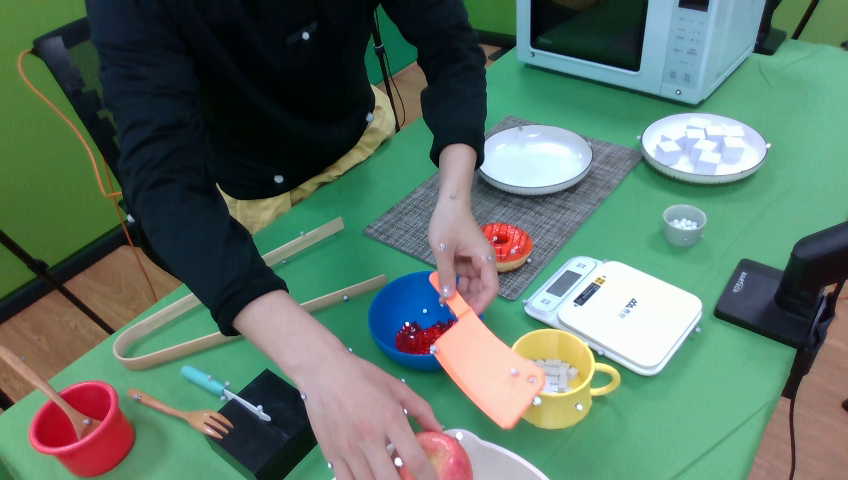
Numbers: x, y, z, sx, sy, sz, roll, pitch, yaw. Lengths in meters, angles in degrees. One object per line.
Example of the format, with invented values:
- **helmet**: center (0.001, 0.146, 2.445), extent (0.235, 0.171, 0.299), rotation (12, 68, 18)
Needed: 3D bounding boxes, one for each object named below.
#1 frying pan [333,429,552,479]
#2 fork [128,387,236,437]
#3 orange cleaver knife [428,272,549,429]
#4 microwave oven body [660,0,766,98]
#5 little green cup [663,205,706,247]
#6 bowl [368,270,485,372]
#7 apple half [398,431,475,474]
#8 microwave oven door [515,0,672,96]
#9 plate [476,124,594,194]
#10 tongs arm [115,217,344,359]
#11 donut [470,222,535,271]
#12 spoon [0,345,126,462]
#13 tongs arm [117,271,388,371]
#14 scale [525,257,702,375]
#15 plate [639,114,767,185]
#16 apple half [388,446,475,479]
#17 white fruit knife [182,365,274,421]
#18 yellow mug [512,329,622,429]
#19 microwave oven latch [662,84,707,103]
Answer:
- **frying pan**: center (-0.089, 0.306, 0.564), extent (0.487, 0.103, 0.306), rotation (10, 41, 8)
- **fork**: center (-0.305, 0.207, 0.744), extent (0.206, 0.019, 0.028), rotation (3, 42, 36)
- **orange cleaver knife**: center (0.047, 0.108, 0.635), extent (0.077, 0.012, 0.209), rotation (-34, 45, -10)
- **microwave oven body**: center (0.472, -0.513, 1.317), extent (0.438, 0.261, 0.327), rotation (26, 51, 34)
- **little green cup**: center (0.396, -0.020, 0.926), extent (0.061, 0.039, 0.061), rotation (-4, 40, 4)
- **bowl**: center (0.007, 0.119, 0.792), extent (0.151, 0.077, 0.150), rotation (-5, 40, 4)
- **apple half**: center (0.015, 0.206, 0.577), extent (0.081, 0.081, 0.033), rotation (7, 42, 17)
- **microwave oven door**: center (0.343, -0.454, 1.259), extent (0.353, 0.245, 0.039), rotation (26, 51, 33)
- **plate**: center (0.199, -0.142, 1.093), extent (0.209, 0.038, 0.208), rotation (-4, 40, 4)
- **tongs arm**: center (-0.280, 0.067, 0.927), extent (0.386, 0.026, 0.050), rotation (-29, 49, -23)
- **donut**: center (0.119, 0.009, 0.923), extent (0.099, 0.048, 0.098), rotation (-4, 38, 3)
- **spoon**: center (-0.434, 0.192, 0.720), extent (0.194, 0.021, 0.042), rotation (47, 54, -7)
- **tongs arm**: center (-0.236, 0.114, 0.870), extent (0.389, 0.028, 0.028), rotation (-18, 49, -13)
- **scale**: center (0.254, 0.091, 0.821), extent (0.199, 0.032, 0.149), rotation (28, 51, 35)
- **plate**: center (0.489, -0.157, 1.074), extent (0.207, 0.039, 0.206), rotation (-4, 40, 4)
- **apple half**: center (0.003, 0.230, 0.549), extent (0.080, 0.075, 0.053), rotation (6, 42, 18)
- **white fruit knife**: center (-0.245, 0.187, 0.747), extent (0.205, 0.027, 0.016), rotation (9, 41, 41)
- **yellow mug**: center (0.168, 0.164, 0.721), extent (0.130, 0.064, 0.099), rotation (0, 40, 8)
- **microwave oven latch**: center (0.517, -0.296, 1.204), extent (0.078, 0.029, 0.030), rotation (27, 52, 35)
